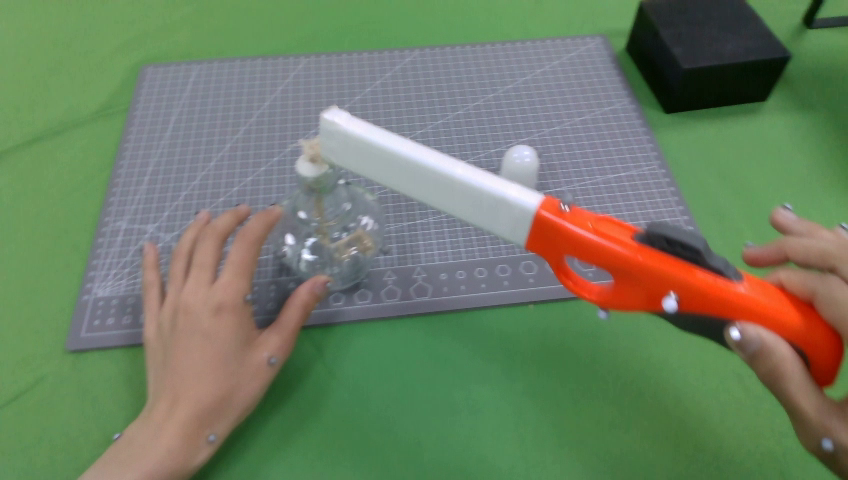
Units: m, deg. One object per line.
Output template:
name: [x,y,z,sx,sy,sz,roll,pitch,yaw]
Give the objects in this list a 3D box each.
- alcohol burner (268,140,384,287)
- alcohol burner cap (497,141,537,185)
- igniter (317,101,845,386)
alcohol burner: [-0.066,-0.022,0.394,0.078,0.120,0.077,0,55,0]
alcohol burner cap: [0.071,-0.055,0.466,0.034,0.048,0.033,1,53,-1]
igniter: [0.064,-0.005,0.298,0.275,0.057,0.025,26,43,16]
